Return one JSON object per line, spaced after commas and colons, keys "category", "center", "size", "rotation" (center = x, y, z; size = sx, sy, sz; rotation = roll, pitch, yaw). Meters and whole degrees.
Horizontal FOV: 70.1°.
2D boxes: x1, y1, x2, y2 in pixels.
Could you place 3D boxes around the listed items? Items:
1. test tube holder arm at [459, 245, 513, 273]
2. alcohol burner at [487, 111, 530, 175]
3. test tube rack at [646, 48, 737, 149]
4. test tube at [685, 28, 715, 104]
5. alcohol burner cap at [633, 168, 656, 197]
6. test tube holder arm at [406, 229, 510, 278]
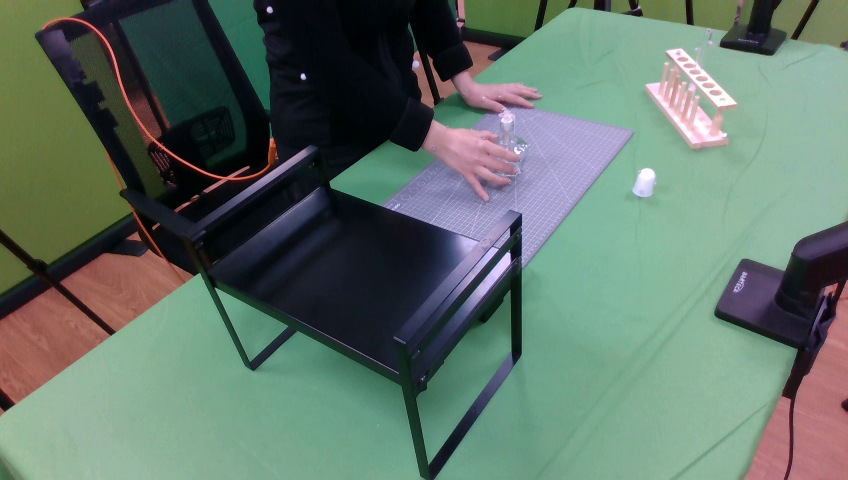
{"category": "test tube holder arm", "center": [0.085, 0.027, 0.857], "size": [0.087, 0.015, 0.010], "rotation": [20, 63, 30]}
{"category": "alcohol burner", "center": [0.151, -0.177, 1.077], "size": [0.078, 0.119, 0.077], "rotation": [-2, 40, 2]}
{"category": "test tube rack", "center": [0.511, -0.280, 1.175], "size": [0.067, 0.085, 0.241], "rotation": [-8, 41, 1]}
{"category": "test tube", "center": [0.524, -0.328, 1.152], "size": [0.017, 0.151, 0.017], "rotation": [-1, 42, 1]}
{"category": "alcohol burner cap", "center": [0.374, -0.099, 1.018], "size": [0.034, 0.048, 0.033], "rotation": [0, 41, 1]}
{"category": "test tube holder arm", "center": [0.046, 0.018, 0.877], "size": [0.177, 0.015, 0.013], "rotation": [21, 63, 30]}
